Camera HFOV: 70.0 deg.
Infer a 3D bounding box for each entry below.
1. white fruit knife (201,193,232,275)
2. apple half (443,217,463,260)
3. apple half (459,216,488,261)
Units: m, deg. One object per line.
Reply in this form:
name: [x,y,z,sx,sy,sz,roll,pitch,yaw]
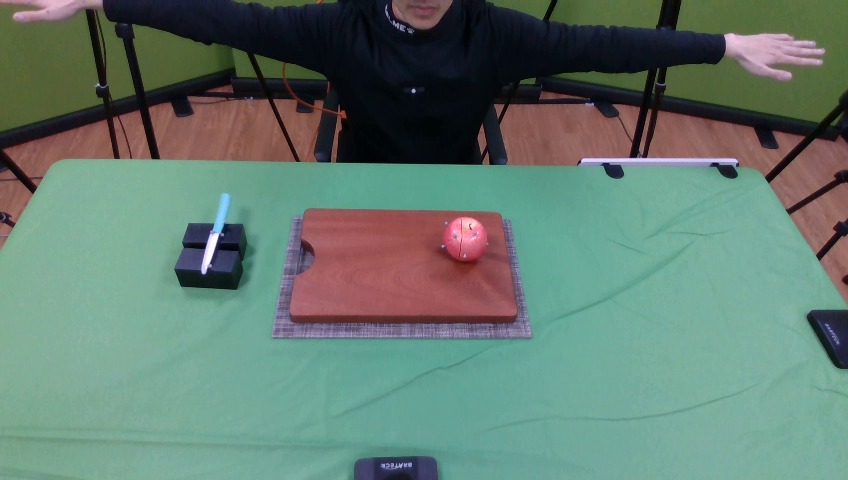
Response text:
white fruit knife: [-0.383,-0.015,1.119,0.027,0.016,0.206,-20,45,19]
apple half: [0.052,-0.001,1.123,0.033,0.081,0.081,4,46,-4]
apple half: [0.091,0.000,1.126,0.053,0.075,0.080,5,42,-5]
